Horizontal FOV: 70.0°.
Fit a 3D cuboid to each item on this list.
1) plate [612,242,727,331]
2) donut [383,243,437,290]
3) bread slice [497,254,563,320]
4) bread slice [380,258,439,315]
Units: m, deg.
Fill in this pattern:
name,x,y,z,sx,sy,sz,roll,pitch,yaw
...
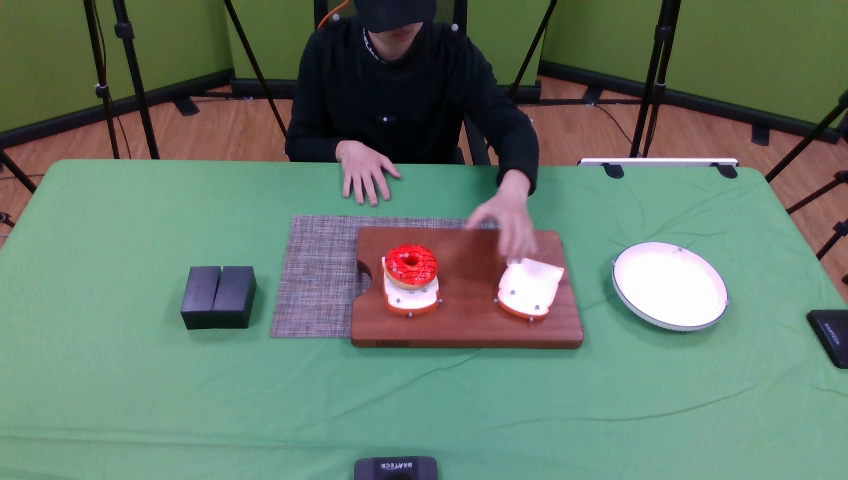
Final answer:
name,x,y,z,sx,sy,sz,roll,pitch,yaw
plate,0.455,0.090,1.138,0.209,0.038,0.208,3,45,-2
donut,-0.025,0.047,1.076,0.099,0.048,0.098,4,45,-4
bread slice,0.189,0.087,1.095,0.107,0.018,0.134,15,45,10
bread slice,-0.024,0.079,1.087,0.105,0.019,0.130,-2,45,-5
